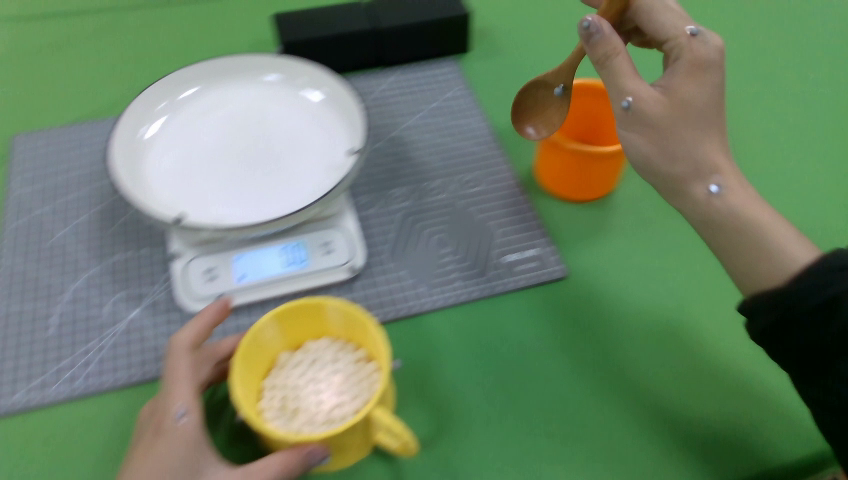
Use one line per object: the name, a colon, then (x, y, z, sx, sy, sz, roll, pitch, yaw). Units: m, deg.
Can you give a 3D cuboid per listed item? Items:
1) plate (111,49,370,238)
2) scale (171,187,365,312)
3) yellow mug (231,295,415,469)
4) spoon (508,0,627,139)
plate: (-0.149, -0.082, 0.511, 0.209, 0.038, 0.207, 1, 55, -1)
scale: (-0.141, -0.040, 0.522, 0.149, 0.032, 0.198, -13, 56, -9)
yellow mug: (-0.059, 0.103, 0.405, 0.130, 0.064, 0.099, 30, 61, 18)
spoon: (0.100, -0.122, 0.377, 0.041, 0.194, 0.021, 40, 66, 3)
